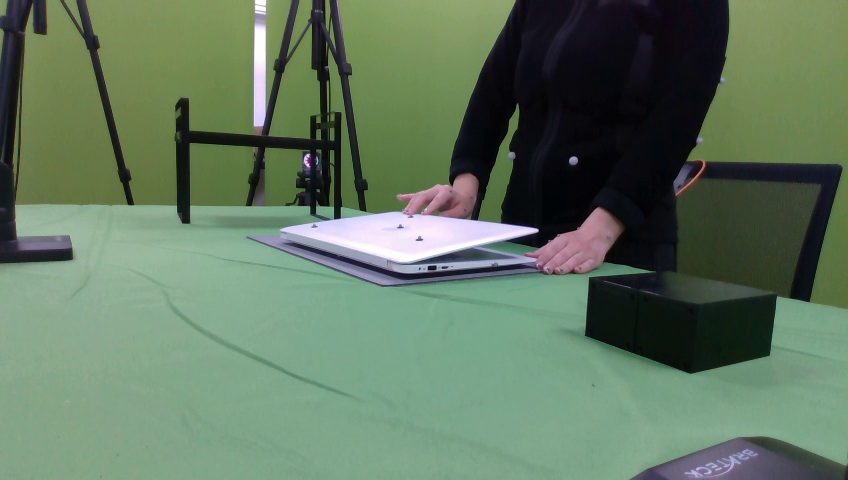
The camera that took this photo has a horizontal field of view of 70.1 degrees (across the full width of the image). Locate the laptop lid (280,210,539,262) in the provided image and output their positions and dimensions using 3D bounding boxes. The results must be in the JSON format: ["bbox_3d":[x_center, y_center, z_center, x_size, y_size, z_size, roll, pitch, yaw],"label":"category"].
[{"bbox_3d":[-0.035,-0.015,0.891,0.243,0.013,0.355,-10,13,-34],"label":"laptop lid"}]

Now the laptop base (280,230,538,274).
[{"bbox_3d":[-0.037,0.014,0.895,0.237,0.023,0.352,1,7,-38],"label":"laptop base"}]
